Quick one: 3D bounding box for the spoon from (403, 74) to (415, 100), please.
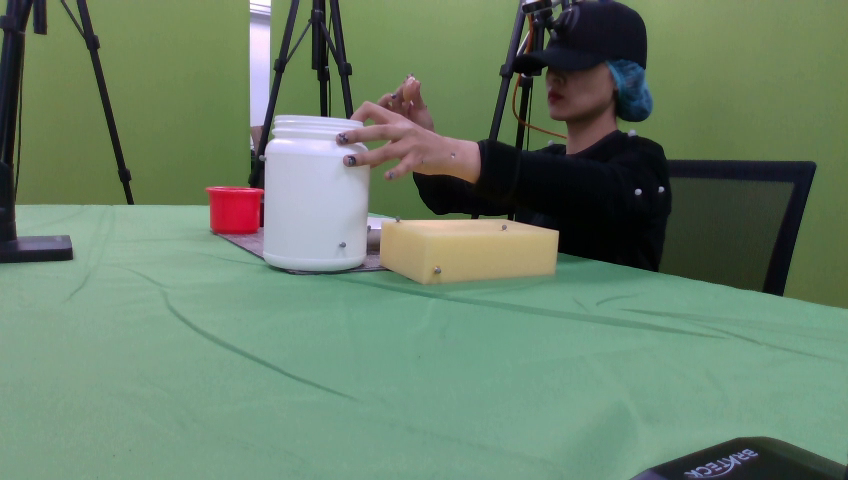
[{"bbox_3d":[-0.025,-0.280,1.081,0.022,0.041,0.193,16,19,-5],"label":"spoon"}]

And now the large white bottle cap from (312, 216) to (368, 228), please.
[{"bbox_3d":[-0.171,-0.038,1.234,0.115,0.018,0.115,2,5,0],"label":"large white bottle cap"}]

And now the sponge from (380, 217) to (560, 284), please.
[{"bbox_3d":[0.060,0.008,0.786,0.208,0.061,0.117,-3,11,-32],"label":"sponge"}]

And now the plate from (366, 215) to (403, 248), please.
[{"bbox_3d":[-0.122,-0.015,0.984,0.209,0.038,0.209,2,7,0],"label":"plate"}]

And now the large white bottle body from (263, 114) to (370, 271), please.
[{"bbox_3d":[-0.135,-0.062,0.762,0.131,0.184,0.130,3,8,0],"label":"large white bottle body"}]
